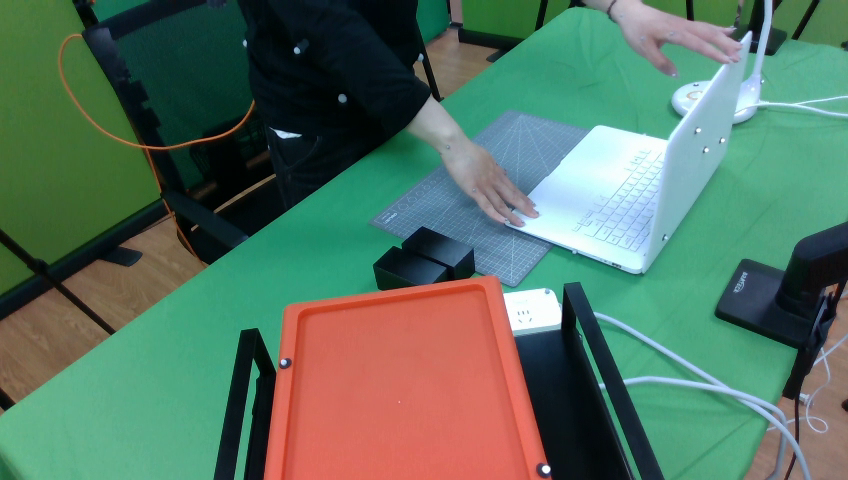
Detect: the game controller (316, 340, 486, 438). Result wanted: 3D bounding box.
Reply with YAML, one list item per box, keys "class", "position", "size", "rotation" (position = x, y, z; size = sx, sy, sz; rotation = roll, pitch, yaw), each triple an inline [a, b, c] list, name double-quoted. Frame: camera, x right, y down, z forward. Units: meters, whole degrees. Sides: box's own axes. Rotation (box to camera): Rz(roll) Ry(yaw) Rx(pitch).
- class: "game controller"
  position: [-0.021, 0.120, 0.534]
  size: [0.155, 0.052, 0.096]
  rotation: [-4, 36, 0]

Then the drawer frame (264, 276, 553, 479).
- class: "drawer frame"
  position: [-0.016, 0.137, 0.490]
  size: [0.202, 0.083, 0.212]
  rotation: [-8, 41, -1]

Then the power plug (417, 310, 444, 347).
- class: "power plug"
  position: [0.007, 0.123, 0.784]
  size: [0.035, 0.053, 0.072]
  rotation: [-1, 42, 8]

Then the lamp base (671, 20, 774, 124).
- class: "lamp base"
  position: [0.581, -0.332, 1.154]
  size: [0.179, 0.181, 0.160]
  rotation: [2, 42, 7]

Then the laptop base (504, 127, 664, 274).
- class: "laptop base"
  position: [0.326, -0.083, 1.028]
  size: [0.233, 0.023, 0.355]
  rotation: [21, 48, 32]

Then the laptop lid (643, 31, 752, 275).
- class: "laptop lid"
  position: [0.407, -0.134, 0.891]
  size: [0.013, 0.243, 0.358]
  rotation: [22, 47, 31]

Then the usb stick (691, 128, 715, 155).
- class: "usb stick"
  position: [0.501, -0.176, 1.092]
  size: [0.021, 0.027, 0.059]
  rotation: [29, 56, 30]

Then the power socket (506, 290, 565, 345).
- class: "power socket"
  position: [0.081, 0.112, 0.822]
  size: [0.227, 0.033, 0.072]
  rotation: [-7, 40, 0]

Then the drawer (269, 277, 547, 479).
- class: "drawer"
  position: [-0.018, 0.137, 0.493]
  size: [0.195, 0.073, 0.210]
  rotation: [-7, 41, -1]
